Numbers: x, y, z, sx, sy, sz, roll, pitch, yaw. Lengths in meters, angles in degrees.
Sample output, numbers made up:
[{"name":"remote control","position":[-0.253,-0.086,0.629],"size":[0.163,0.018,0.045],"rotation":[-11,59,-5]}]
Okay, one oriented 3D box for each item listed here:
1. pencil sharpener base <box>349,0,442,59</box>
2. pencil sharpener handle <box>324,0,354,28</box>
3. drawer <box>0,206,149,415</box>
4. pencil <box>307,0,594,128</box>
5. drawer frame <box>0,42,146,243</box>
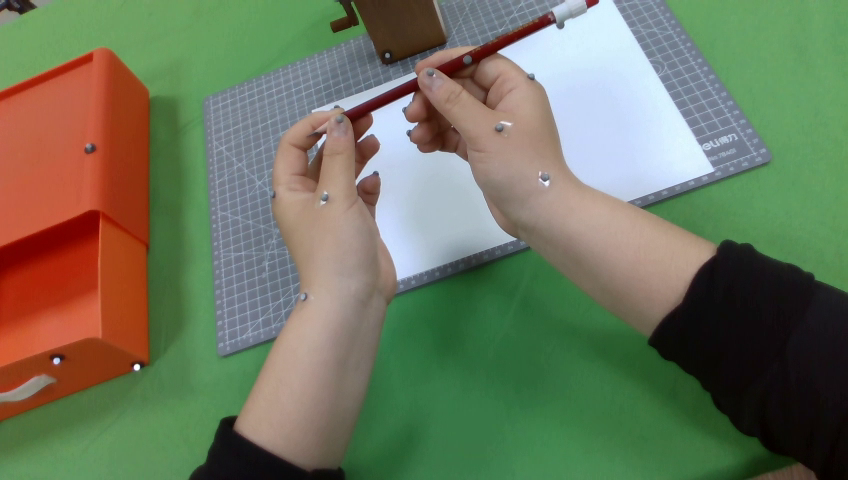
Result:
[{"name":"pencil sharpener base","position":[-0.035,-0.231,0.555],"size":[0.076,0.108,0.061],"rotation":[-18,59,8]},{"name":"pencil sharpener handle","position":[-0.087,-0.222,0.553],"size":[0.030,0.068,0.035],"rotation":[-18,65,9]},{"name":"drawer","position":[-0.348,0.035,0.533],"size":[0.194,0.074,0.209],"rotation":[-21,58,6]},{"name":"pencil","position":[0.014,-0.110,0.373],"size":[0.194,0.012,0.012],"rotation":[-24,58,6]},{"name":"drawer frame","position":[-0.379,-0.062,0.591],"size":[0.201,0.083,0.211],"rotation":[-21,58,6]}]
